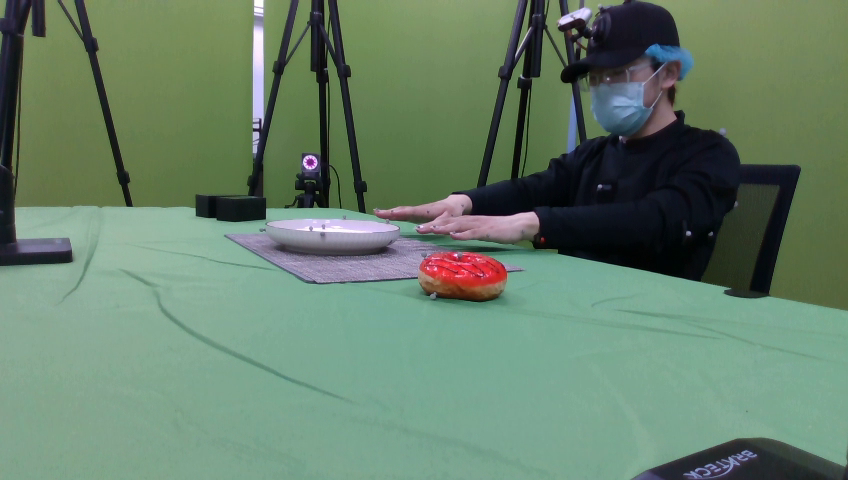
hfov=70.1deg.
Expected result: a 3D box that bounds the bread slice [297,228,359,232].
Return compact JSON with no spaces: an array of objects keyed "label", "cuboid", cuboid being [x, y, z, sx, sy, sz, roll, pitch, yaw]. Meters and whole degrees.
[{"label":"bread slice","cuboid":[-0.142,-0.004,0.939,0.131,0.019,0.105,8,8,33]}]

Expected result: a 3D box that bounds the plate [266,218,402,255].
[{"label":"plate","cuboid":[-0.138,-0.006,0.941,0.208,0.039,0.207,2,7,0]}]

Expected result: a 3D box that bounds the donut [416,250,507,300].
[{"label":"donut","cuboid":[0.041,0.038,0.650,0.099,0.048,0.099,4,9,0]}]
